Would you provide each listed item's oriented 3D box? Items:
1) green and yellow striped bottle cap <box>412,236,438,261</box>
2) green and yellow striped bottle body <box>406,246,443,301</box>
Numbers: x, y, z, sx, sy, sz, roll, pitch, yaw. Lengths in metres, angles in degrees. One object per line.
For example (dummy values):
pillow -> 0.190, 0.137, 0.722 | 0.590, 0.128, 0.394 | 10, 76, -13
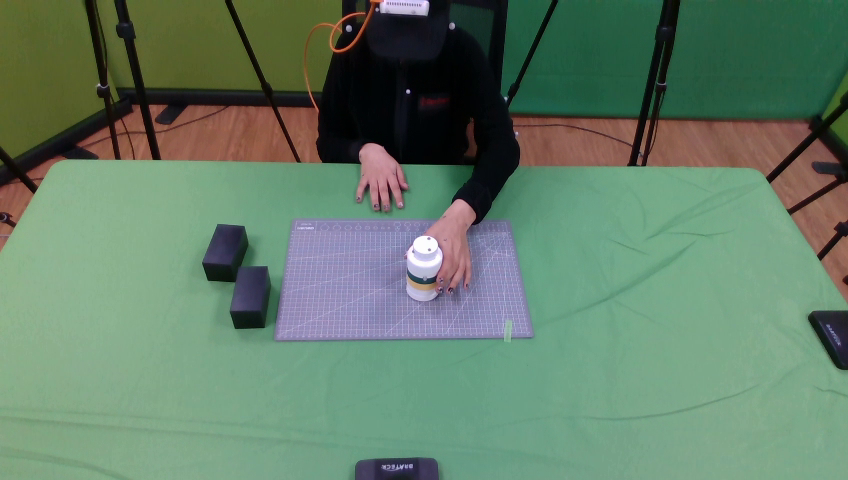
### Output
green and yellow striped bottle cap -> 0.001, 0.013, 1.040 | 0.045, 0.020, 0.045 | 3, 45, -3
green and yellow striped bottle body -> 0.001, 0.049, 1.077 | 0.063, 0.120, 0.063 | 2, 46, -2
